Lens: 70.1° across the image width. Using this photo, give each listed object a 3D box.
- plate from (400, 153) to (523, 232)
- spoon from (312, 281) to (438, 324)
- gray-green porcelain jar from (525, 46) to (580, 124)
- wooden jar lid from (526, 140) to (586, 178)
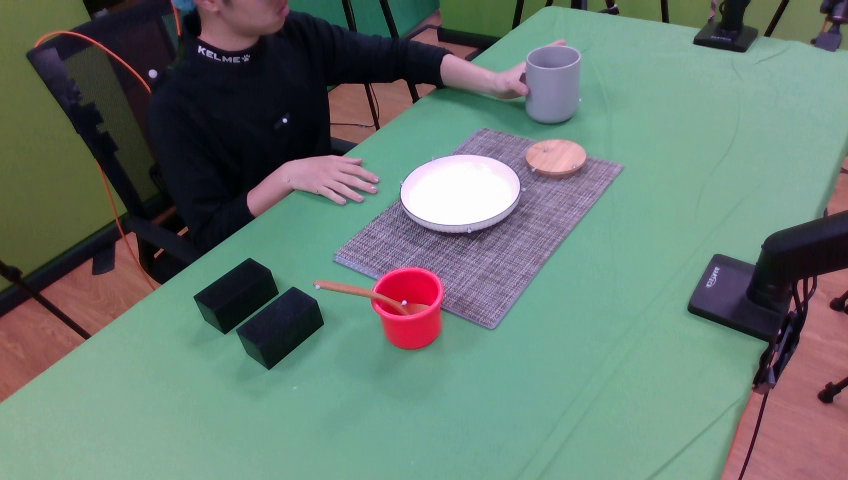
[{"bbox_3d":[0.065,-0.078,1.034,0.207,0.039,0.206,-4,40,4],"label":"plate"},{"bbox_3d":[-0.060,0.078,0.793,0.195,0.021,0.041,24,24,-35],"label":"spoon"},{"bbox_3d":[0.256,-0.305,1.209,0.106,0.127,0.105,-4,41,4],"label":"gray-green porcelain jar"},{"bbox_3d":[0.240,-0.147,1.103,0.108,0.021,0.108,-4,42,4],"label":"wooden jar lid"}]
